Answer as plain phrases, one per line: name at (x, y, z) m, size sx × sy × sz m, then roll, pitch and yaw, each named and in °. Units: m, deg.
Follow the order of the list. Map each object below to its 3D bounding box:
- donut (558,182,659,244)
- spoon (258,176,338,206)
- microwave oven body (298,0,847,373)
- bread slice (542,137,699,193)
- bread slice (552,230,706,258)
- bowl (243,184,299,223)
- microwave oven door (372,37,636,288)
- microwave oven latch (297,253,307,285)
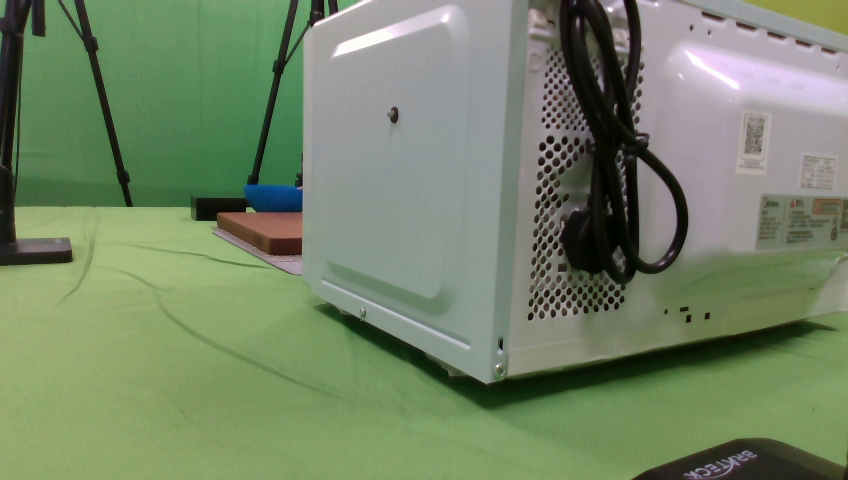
donut at (0.184, -0.028, 0.608) m, size 0.099 × 0.048 × 0.099 m, roll 12°, pitch -11°, yaw 3°
spoon at (-0.279, -0.112, 1.356) m, size 0.194 × 0.021 × 0.041 m, roll -27°, pitch 18°, yaw -27°
microwave oven body at (0.151, -0.055, 0.542) m, size 0.444 × 0.260 × 0.324 m, roll -1°, pitch 7°, yaw -33°
bread slice at (0.199, -0.074, 0.598) m, size 0.107 × 0.018 × 0.133 m, roll -1°, pitch 22°, yaw -44°
bread slice at (0.203, 0.004, 0.584) m, size 0.105 × 0.019 × 0.131 m, roll 6°, pitch -3°, yaw -20°
bowl at (-0.321, -0.081, 1.333) m, size 0.151 × 0.077 × 0.151 m, roll 3°, pitch 8°, yaw 0°
microwave oven door at (0.110, -0.080, 0.686) m, size 0.358 × 0.243 × 0.039 m, roll -2°, pitch 9°, yaw -33°
microwave oven latch at (-0.082, 0.027, 0.582) m, size 0.079 × 0.029 × 0.030 m, roll -1°, pitch 7°, yaw -33°
